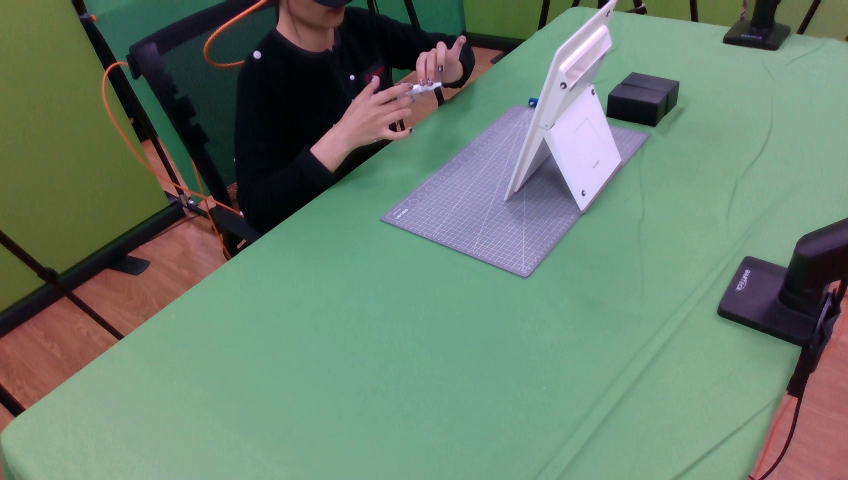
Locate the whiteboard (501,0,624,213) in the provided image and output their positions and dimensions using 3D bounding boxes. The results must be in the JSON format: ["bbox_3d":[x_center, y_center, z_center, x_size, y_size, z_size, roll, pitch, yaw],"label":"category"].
[{"bbox_3d":[0.271,-0.189,0.977,0.143,0.306,0.218,34,53,16],"label":"whiteboard"}]

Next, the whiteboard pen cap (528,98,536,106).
[{"bbox_3d":[0.239,-0.293,1.288,0.033,0.018,0.018,23,50,35],"label":"whiteboard pen cap"}]

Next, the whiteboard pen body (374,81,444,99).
[{"bbox_3d":[-0.026,-0.285,1.141,0.141,0.017,0.017,-14,40,-18],"label":"whiteboard pen body"}]
